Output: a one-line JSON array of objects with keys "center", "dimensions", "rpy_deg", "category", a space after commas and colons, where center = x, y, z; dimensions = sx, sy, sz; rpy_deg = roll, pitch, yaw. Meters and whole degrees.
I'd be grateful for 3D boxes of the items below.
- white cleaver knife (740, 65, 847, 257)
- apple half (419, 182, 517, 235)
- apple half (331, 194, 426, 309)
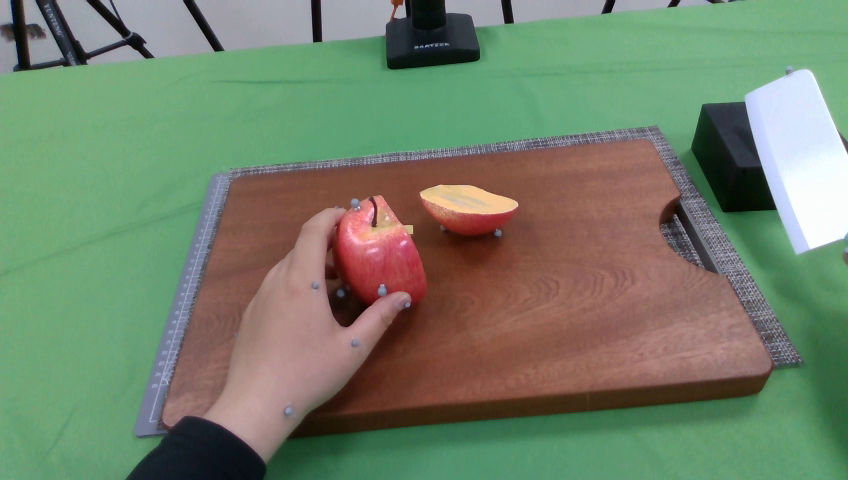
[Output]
[{"center": [0.302, -0.020, 0.453], "dimensions": [0.066, 0.022, 0.283], "rpy_deg": [-31, 46, 39], "category": "white cleaver knife"}, {"center": [0.031, -0.021, 0.488], "dimensions": [0.081, 0.033, 0.080], "rpy_deg": [6, 22, -2], "category": "apple half"}, {"center": [-0.038, 0.014, 0.435], "dimensions": [0.053, 0.075, 0.080], "rpy_deg": [-25, 50, -13], "category": "apple half"}]
